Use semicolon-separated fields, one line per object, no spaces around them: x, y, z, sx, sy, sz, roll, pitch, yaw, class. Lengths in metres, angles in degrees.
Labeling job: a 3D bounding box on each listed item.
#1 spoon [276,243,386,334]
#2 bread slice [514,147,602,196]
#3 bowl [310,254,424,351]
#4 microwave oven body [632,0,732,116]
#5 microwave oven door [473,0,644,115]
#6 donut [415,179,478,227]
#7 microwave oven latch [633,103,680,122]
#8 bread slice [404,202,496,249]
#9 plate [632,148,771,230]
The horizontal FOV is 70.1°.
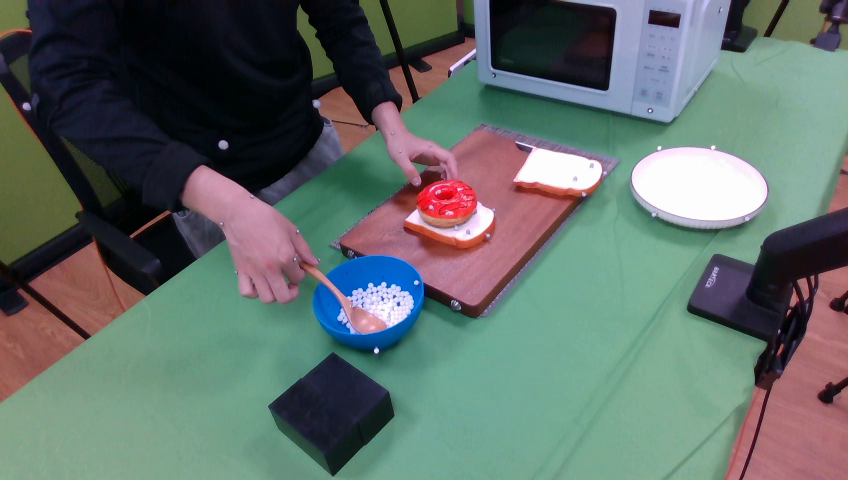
-0.127;0.064;0.807;0.193;0.021;0.042;43;47;10;spoon
0.232;-0.115;1.026;0.133;0.018;0.107;13;45;20;bread slice
-0.071;0.098;0.821;0.151;0.077;0.150;-4;40;4;bowl
0.377;-0.462;1.267;0.438;0.261;0.327;21;49;30;microwave oven body
0.257;-0.396;1.199;0.353;0.245;0.039;21;48;29;microwave oven door
0.036;-0.058;0.944;0.099;0.048;0.098;-5;40;4;donut
0.444;-0.249;1.157;0.078;0.029;0.030;21;49;30;microwave oven latch
0.048;-0.034;0.961;0.130;0.019;0.105;22;49;32;bread slice
0.447;-0.081;0.988;0.207;0.039;0.206;-4;40;4;plate
